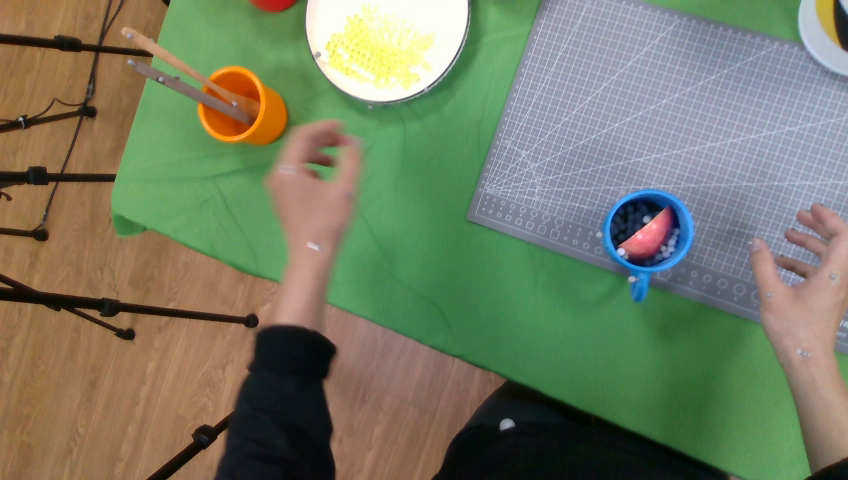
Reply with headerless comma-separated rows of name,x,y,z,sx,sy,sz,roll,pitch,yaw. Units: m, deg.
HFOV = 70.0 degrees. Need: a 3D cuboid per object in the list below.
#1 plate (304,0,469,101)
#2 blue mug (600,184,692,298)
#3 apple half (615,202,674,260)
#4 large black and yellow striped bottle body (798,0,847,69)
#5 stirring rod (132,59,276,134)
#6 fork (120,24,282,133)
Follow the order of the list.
plate,-0.045,-0.273,0.741,0.208,0.038,0.209,0,91,14
blue mug,0.230,0.003,0.642,0.082,0.106,0.116,5,92,14
apple half,0.236,-0.004,0.634,0.081,0.082,0.032,-40,74,11
large black and yellow striped bottle body,0.441,-0.243,0.549,0.130,0.184,0.130,0,88,13
stirring rod,-0.264,-0.173,0.739,0.177,0.006,0.014,24,85,-28
fork,-0.266,-0.194,0.737,0.209,0.018,0.028,31,99,-32
